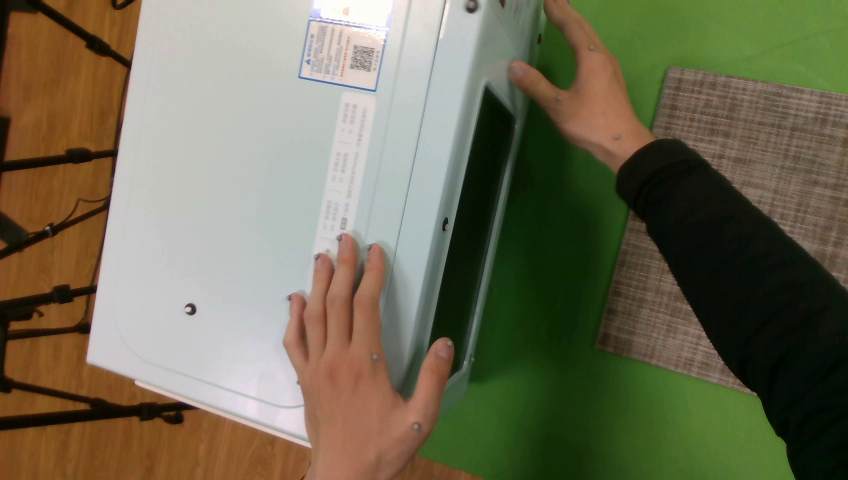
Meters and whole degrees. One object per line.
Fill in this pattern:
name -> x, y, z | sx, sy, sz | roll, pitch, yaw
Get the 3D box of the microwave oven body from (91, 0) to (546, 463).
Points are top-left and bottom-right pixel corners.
microwave oven body -> -0.094, -0.070, 0.601 | 0.324, 0.261, 0.442 | 13, 95, 17

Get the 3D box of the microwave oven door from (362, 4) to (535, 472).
microwave oven door -> 0.032, 0.002, 0.556 | 0.039, 0.244, 0.356 | 13, 95, 18

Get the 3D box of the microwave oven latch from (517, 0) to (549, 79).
microwave oven latch -> 0.110, -0.212, 0.633 | 0.030, 0.029, 0.079 | 14, 96, 17
